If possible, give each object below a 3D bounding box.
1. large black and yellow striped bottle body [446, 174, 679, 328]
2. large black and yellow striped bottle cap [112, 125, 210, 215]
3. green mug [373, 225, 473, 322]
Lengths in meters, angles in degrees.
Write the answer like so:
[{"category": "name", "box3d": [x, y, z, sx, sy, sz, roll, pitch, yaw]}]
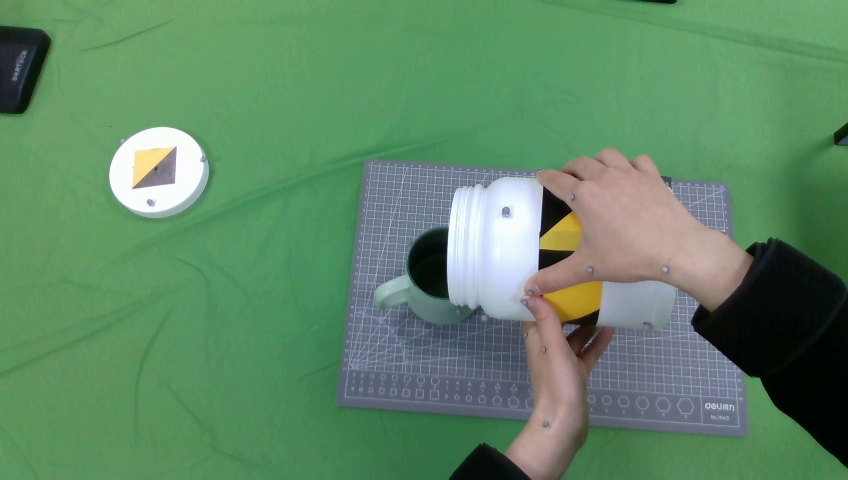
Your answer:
[{"category": "large black and yellow striped bottle body", "box3d": [0.118, 0.008, 0.539, 0.183, 0.132, 0.130, 3, 72, 10]}, {"category": "large black and yellow striped bottle cap", "box3d": [-0.321, -0.086, 0.740, 0.115, 0.019, 0.114, 0, 71, 0]}, {"category": "green mug", "box3d": [0.005, 0.043, 0.652, 0.125, 0.105, 0.092, -21, 74, -6]}]
